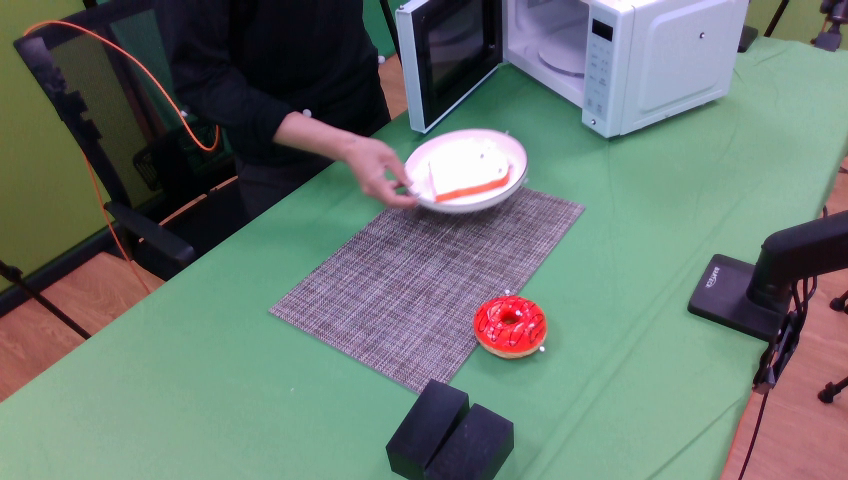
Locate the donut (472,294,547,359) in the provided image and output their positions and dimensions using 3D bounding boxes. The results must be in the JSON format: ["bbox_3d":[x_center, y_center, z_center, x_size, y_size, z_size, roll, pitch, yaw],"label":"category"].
[{"bbox_3d":[0.114,0.114,0.803,0.099,0.048,0.098,0,40,1],"label":"donut"}]

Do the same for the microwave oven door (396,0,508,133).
[{"bbox_3d":[0.071,-0.415,1.246,0.039,0.245,0.356,17,47,29],"label":"microwave oven door"}]

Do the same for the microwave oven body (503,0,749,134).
[{"bbox_3d":[0.382,-0.445,1.246,0.327,0.261,0.437,-22,42,-16],"label":"microwave oven body"}]

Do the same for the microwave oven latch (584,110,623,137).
[{"bbox_3d":[0.337,-0.222,1.142,0.030,0.029,0.078,-21,42,-14],"label":"microwave oven latch"}]

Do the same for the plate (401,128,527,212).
[{"bbox_3d":[0.067,-0.112,0.997,0.207,0.039,0.206,-6,43,6],"label":"plate"}]

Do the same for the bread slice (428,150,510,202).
[{"bbox_3d":[0.075,-0.111,0.998,0.131,0.019,0.104,-13,43,0],"label":"bread slice"}]
